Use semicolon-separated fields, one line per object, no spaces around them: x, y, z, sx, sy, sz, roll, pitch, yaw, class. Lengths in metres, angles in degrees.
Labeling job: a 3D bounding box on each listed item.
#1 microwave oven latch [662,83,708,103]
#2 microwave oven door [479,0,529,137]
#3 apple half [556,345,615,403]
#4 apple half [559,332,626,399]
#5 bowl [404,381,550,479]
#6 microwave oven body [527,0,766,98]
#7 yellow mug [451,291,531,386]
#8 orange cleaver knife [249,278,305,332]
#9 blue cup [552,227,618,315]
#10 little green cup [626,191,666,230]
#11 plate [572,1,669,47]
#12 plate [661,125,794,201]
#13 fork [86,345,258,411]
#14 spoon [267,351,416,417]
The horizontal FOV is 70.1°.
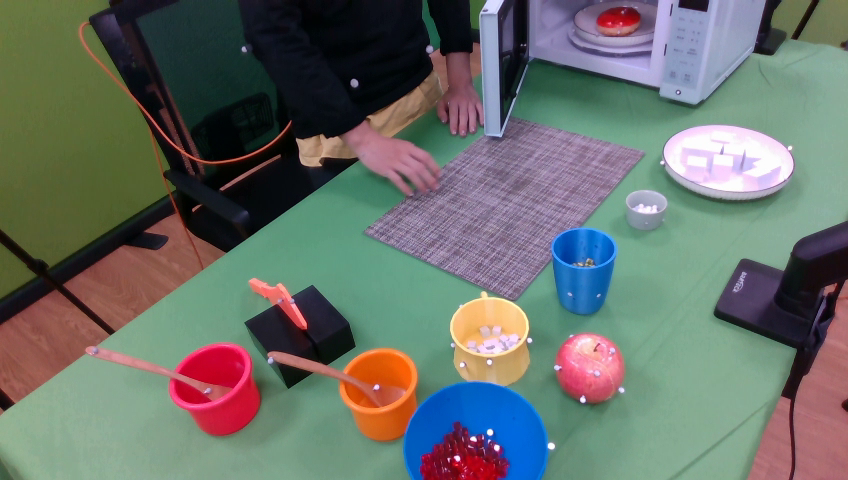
0.518;-0.296;1.204;0.078;0.029;0.030;28;52;35;microwave oven latch
0.169;-0.408;1.231;0.039;0.245;0.355;6;42;16;microwave oven door
0.181;0.167;0.709;0.080;0.081;0.033;30;50;35;apple half
0.209;0.147;0.730;0.080;0.075;0.053;26;48;38;apple half
0.058;0.235;0.645;0.151;0.077;0.150;-4;39;4;bowl
0.472;-0.513;1.317;0.438;0.261;0.327;26;51;34;microwave oven body
0.086;0.120;0.786;0.100;0.064;0.130;-7;39;2;yellow mug
-0.210;0.089;0.855;0.012;0.077;0.210;-28;15;-25;orange cleaver knife
0.218;0.047;0.825;0.092;0.100;0.092;-6;39;5;blue cup
0.352;-0.046;0.963;0.061;0.039;0.061;-4;40;4;little green cup
0.440;-0.484;1.365;0.209;0.038;0.208;-5;41;5;plate
0.513;-0.128;1.035;0.207;0.039;0.206;-4;40;4;plate
-0.298;0.167;0.728;0.209;0.018;0.028;28;47;-23;fork
-0.091;0.163;0.699;0.021;0.195;0.041;-44;30;27;spoon
